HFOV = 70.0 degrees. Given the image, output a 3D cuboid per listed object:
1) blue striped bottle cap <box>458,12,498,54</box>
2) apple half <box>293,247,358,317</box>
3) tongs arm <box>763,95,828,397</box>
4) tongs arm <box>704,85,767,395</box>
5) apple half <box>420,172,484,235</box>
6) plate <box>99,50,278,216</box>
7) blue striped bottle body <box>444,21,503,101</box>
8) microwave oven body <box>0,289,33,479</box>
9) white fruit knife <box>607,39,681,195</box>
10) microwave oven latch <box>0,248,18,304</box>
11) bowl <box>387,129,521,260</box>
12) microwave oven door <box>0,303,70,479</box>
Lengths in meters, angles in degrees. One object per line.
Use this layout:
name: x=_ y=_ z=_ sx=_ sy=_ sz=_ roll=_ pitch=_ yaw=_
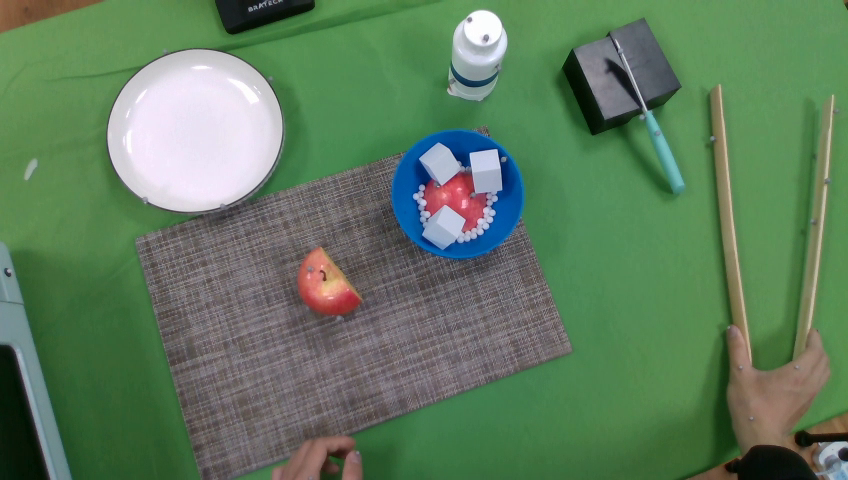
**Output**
blue striped bottle cap: x=0.060 y=-0.230 z=0.673 sx=0.044 sy=0.020 sz=0.044 roll=0 pitch=83 yaw=0
apple half: x=-0.118 y=0.055 z=0.687 sx=0.053 sy=0.075 sz=0.080 roll=-39 pitch=87 yaw=-5
tongs arm: x=0.455 y=0.001 z=0.744 sx=0.051 sy=0.026 sz=0.383 roll=10 pitch=80 yaw=1
tongs arm: x=0.377 y=-0.006 z=0.747 sx=0.028 sy=0.028 sz=0.386 roll=-2 pitch=80 yaw=-4
apple half: x=0.035 y=-0.045 z=0.704 sx=0.081 sy=0.033 sz=0.081 roll=0 pitch=78 yaw=0
plate: x=-0.279 y=-0.126 z=0.735 sx=0.208 sy=0.039 sz=0.207 roll=1 pitch=80 yaw=-3
blue striped bottle body: x=0.058 y=-0.219 z=0.723 sx=0.063 sy=0.121 sz=0.063 roll=0 pitch=79 yaw=-2
microwave oven body: x=-0.557 y=0.232 z=0.541 sx=0.326 sy=0.261 sz=0.440 roll=-20 pitch=82 yaw=-7
white fruit knife: x=0.266 y=-0.147 z=0.736 sx=0.016 sy=0.027 sz=0.208 roll=-26 pitch=99 yaw=11
microwave oven latch: x=-0.485 y=0.038 z=0.678 sx=0.030 sy=0.029 sz=0.079 roll=-21 pitch=82 yaw=-7
bowl: x=0.032 y=-0.045 z=0.708 sx=0.151 sy=0.077 sz=0.150 roll=0 pitch=80 yaw=-2
microwave oven door: x=-0.405 y=0.219 z=0.545 sx=0.039 sy=0.244 sz=0.354 roll=-21 pitch=81 yaw=-6
